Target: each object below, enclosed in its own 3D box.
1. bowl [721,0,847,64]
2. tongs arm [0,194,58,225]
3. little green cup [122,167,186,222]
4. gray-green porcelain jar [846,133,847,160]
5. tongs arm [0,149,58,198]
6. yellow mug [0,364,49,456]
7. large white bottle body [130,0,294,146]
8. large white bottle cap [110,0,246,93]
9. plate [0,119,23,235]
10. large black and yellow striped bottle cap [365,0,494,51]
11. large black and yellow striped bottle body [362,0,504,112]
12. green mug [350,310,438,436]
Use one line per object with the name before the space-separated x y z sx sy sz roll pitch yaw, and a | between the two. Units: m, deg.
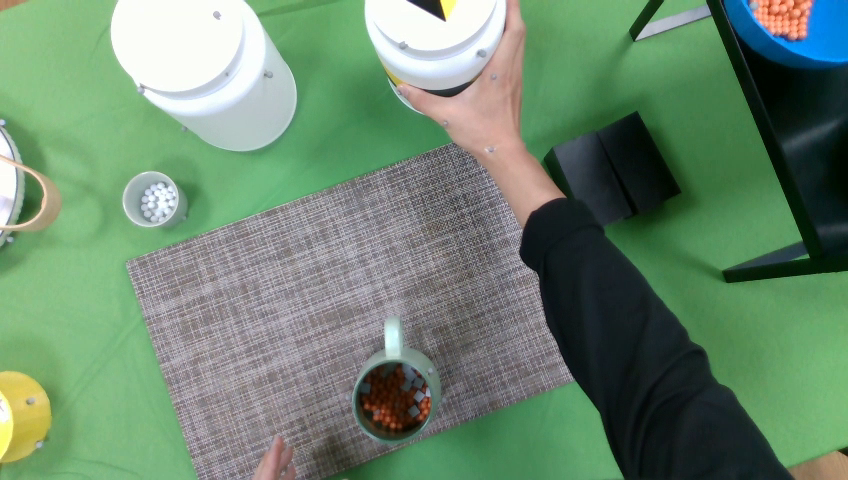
bowl | 0.304 -0.207 0.494 0.151 0.077 0.151 0 85 -1
tongs arm | -0.588 -0.050 0.645 0.385 0.026 0.050 8 82 2
little green cup | -0.299 -0.049 0.678 0.061 0.038 0.061 0 86 -1
gray-green porcelain jar | 0.405 -0.082 0.461 0.106 0.127 0.105 0 84 0
tongs arm | -0.568 -0.130 0.654 0.387 0.028 0.028 22 79 4
yellow mug | -0.472 0.201 0.643 0.100 0.064 0.130 12 86 0
large white bottle body | -0.215 -0.180 0.616 0.130 0.185 0.130 0 85 1
large white bottle cap | -0.216 -0.187 0.532 0.115 0.018 0.114 0 86 0
plate | -0.550 -0.066 0.679 0.208 0.039 0.207 0 86 0
large black and yellow striped bottle cap | 0.005 -0.220 0.517 0.115 0.019 0.115 0 87 2
large black and yellow striped bottle body | 0.012 -0.213 0.600 0.131 0.184 0.130 0 87 4
green mug | -0.032 0.135 0.627 0.092 0.105 0.125 -4 84 0
